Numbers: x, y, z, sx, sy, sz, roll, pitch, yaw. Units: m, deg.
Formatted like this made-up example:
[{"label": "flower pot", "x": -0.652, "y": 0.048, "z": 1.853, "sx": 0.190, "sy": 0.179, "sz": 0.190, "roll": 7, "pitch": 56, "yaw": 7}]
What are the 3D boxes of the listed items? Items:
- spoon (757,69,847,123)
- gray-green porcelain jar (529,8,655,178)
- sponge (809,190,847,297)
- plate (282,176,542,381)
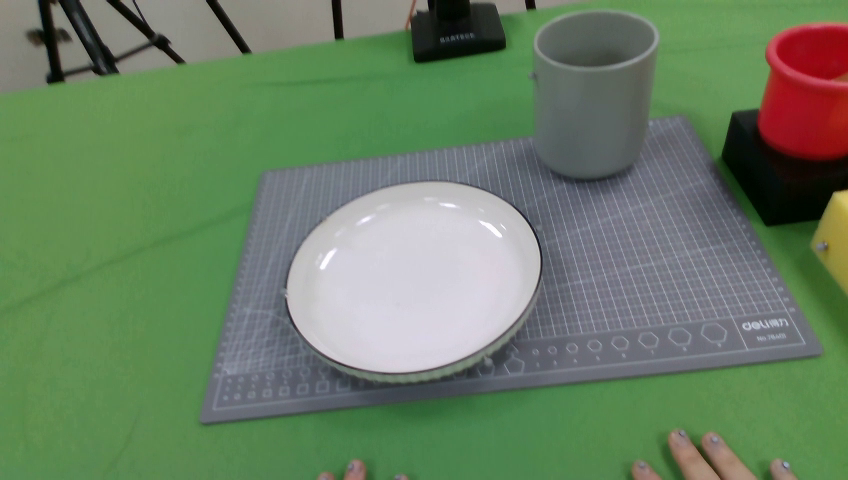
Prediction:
[{"label": "spoon", "x": 0.347, "y": -0.137, "z": 0.449, "sx": 0.193, "sy": 0.022, "sz": 0.041, "roll": -31, "pitch": 25, "yaw": 48}, {"label": "gray-green porcelain jar", "x": 0.150, "y": -0.129, "z": 0.558, "sx": 0.106, "sy": 0.128, "sz": 0.105, "roll": -5, "pitch": 46, "yaw": 6}, {"label": "sponge", "x": 0.374, "y": 0.046, "z": 0.397, "sx": 0.118, "sy": 0.061, "sz": 0.204, "roll": -10, "pitch": 45, "yaw": 0}, {"label": "plate", "x": -0.009, "y": 0.028, "z": 0.496, "sx": 0.207, "sy": 0.039, "sz": 0.205, "roll": -5, "pitch": 46, "yaw": 6}]
